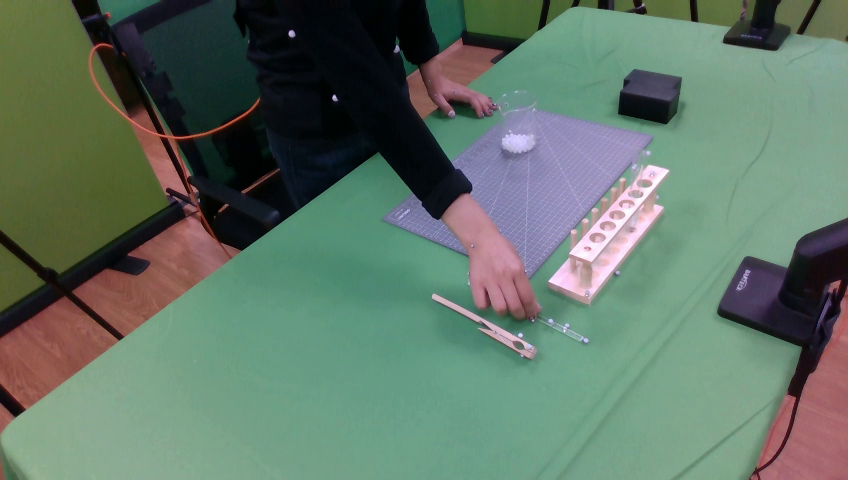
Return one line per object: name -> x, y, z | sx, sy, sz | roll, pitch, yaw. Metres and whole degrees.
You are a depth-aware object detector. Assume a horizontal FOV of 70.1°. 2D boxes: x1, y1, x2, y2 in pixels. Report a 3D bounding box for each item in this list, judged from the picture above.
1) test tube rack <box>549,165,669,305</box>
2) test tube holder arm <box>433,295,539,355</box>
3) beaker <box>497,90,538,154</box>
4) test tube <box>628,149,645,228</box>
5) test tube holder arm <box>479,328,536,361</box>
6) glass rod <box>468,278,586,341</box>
test tube rack -> 0.279, -0.018, 0.902 | 0.066, 0.085, 0.243 | 24, 50, 33
test tube holder arm -> 0.081, 0.114, 0.833 | 0.177, 0.015, 0.013 | 26, 85, 37
beaker -> 0.176, -0.220, 1.143 | 0.073, 0.101, 0.084 | 27, 52, 35
test tube -> 0.309, -0.071, 0.882 | 0.017, 0.151, 0.017 | -7, 47, 8
test tube holder arm -> 0.110, 0.135, 0.806 | 0.087, 0.015, 0.010 | 28, 86, 37
glass rod -> 0.140, 0.095, 0.853 | 0.198, 0.008, 0.008 | 26, 52, 34
